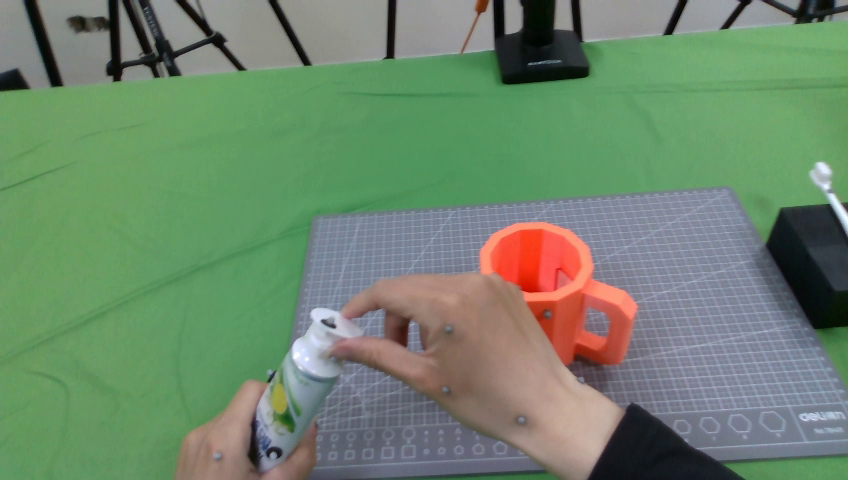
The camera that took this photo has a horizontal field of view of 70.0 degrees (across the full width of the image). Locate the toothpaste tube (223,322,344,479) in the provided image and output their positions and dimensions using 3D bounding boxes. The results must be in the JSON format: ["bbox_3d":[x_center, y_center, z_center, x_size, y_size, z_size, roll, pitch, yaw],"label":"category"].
[{"bbox_3d":[-0.097,0.114,0.403,0.035,0.165,0.054,10,30,-41],"label":"toothpaste tube"}]

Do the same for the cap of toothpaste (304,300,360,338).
[{"bbox_3d":[-0.057,0.049,0.370,0.037,0.011,0.037,25,9,-4],"label":"cap of toothpaste"}]

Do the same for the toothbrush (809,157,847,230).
[{"bbox_3d":[0.364,-0.010,0.510,0.014,0.017,0.180,3,46,4],"label":"toothbrush"}]

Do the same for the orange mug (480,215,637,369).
[{"bbox_3d":[0.104,0.048,0.488,0.125,0.102,0.083,17,49,28],"label":"orange mug"}]
